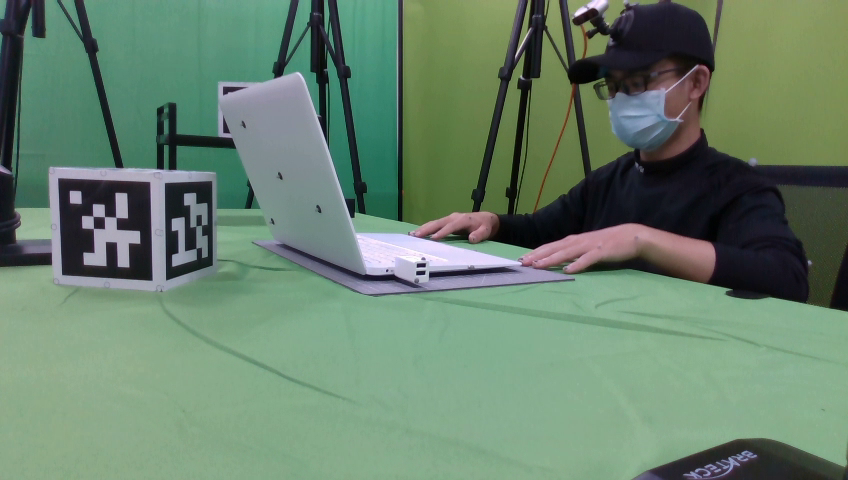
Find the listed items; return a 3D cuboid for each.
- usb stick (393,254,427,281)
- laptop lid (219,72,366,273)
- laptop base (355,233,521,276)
[{"bbox_3d":[-0.020,0.030,0.694,0.021,0.027,0.059,-4,5,-31],"label":"usb stick"},{"bbox_3d":[-0.189,-0.087,0.801,0.013,0.242,0.355,-26,21,-26],"label":"laptop lid"},{"bbox_3d":[-0.056,0.018,0.898,0.237,0.023,0.352,2,6,-32],"label":"laptop base"}]
